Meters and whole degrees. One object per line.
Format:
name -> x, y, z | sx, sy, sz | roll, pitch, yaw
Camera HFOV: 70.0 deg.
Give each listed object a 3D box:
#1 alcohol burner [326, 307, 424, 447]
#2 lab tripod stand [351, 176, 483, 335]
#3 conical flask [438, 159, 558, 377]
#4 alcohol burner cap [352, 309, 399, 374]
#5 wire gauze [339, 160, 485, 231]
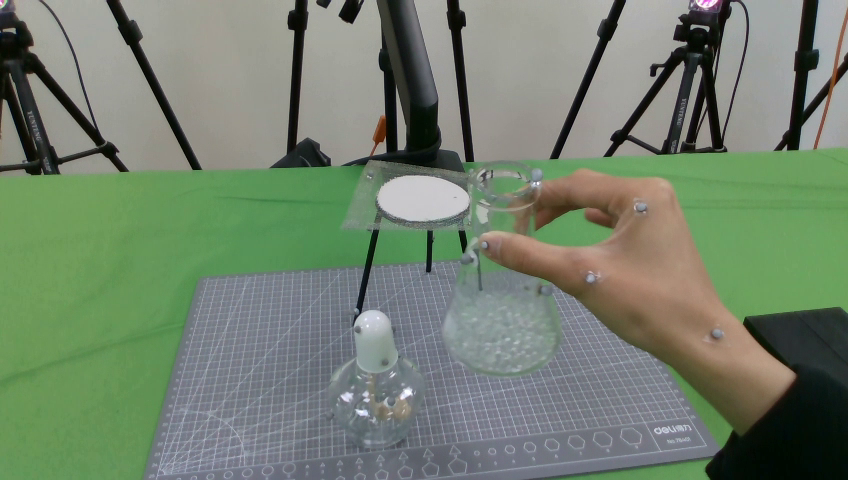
alcohol burner -> -0.038, 0.103, 0.473 | 0.078, 0.120, 0.077 | 1, 31, 0
lab tripod stand -> 0.000, 0.016, 0.592 | 0.148, 0.132, 0.147 | 3, 32, -2
conical flask -> 0.044, 0.014, 0.348 | 0.075, 0.123, 0.074 | -2, 39, 2
alcohol burner cap -> -0.037, 0.073, 0.453 | 0.034, 0.048, 0.033 | -4, 37, 3
wire gauze -> -0.005, -0.041, 0.556 | 0.121, 0.011, 0.124 | 5, 34, 4
